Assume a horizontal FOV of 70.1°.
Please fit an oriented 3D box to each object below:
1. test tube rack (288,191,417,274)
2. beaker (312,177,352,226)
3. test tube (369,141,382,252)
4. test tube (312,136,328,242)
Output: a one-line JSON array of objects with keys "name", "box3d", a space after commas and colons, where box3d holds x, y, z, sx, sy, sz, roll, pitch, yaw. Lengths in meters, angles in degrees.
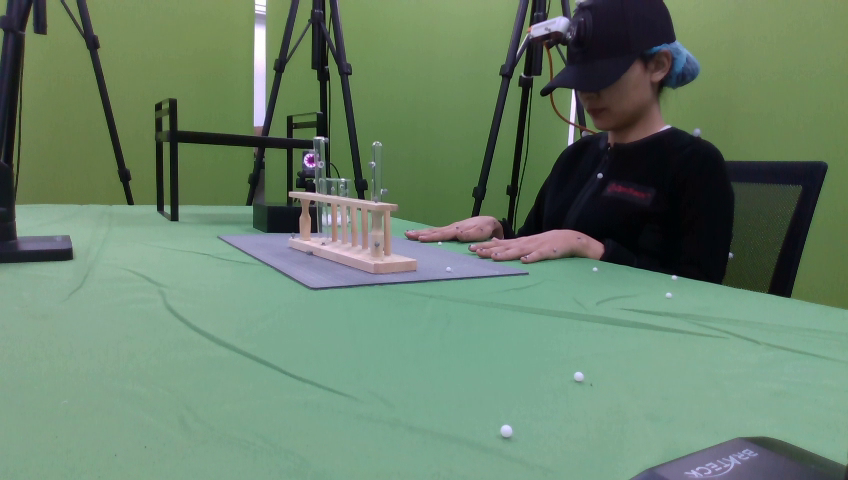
[{"name": "test tube rack", "box3d": [-0.106, -0.017, 0.835, 0.067, 0.085, 0.241, -3, 9, -37]}, {"name": "beaker", "box3d": [-0.194, -0.081, 1.266, 0.084, 0.100, 0.073, -3, 9, -29]}, {"name": "test tube", "box3d": [-0.064, -0.056, 0.808, 0.017, 0.150, 0.017, 1, 8, 0]}, {"name": "test tube", "box3d": [-0.146, -0.070, 0.850, 0.017, 0.150, 0.017, 0, 11, 0]}]
